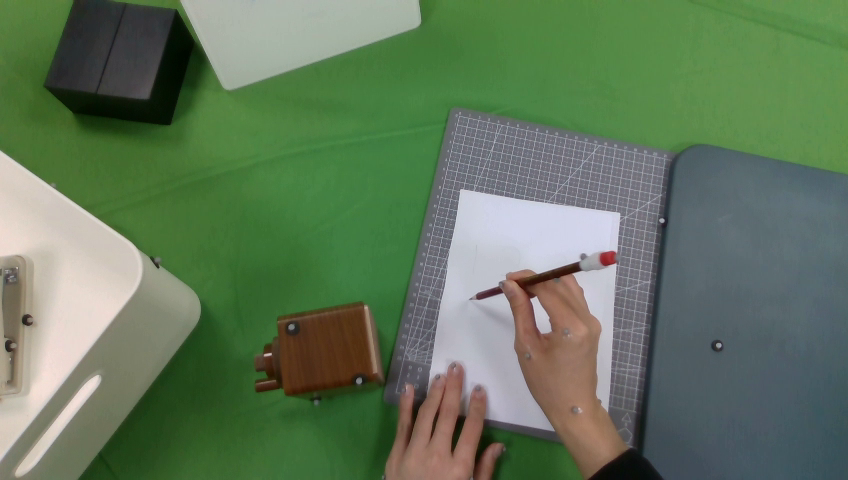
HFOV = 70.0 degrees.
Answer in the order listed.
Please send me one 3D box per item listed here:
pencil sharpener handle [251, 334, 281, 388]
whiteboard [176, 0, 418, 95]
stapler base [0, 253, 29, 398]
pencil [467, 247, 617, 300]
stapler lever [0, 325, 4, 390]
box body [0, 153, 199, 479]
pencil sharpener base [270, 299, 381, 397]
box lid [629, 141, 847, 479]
[{"bbox_3d":[-0.128,0.102,0.481,0.031,0.068,0.035,-10,58,-4],"label":"pencil sharpener handle"},{"bbox_3d":[-0.145,-0.323,0.541,0.217,0.308,0.142,-21,56,-7],"label":"whiteboard"},{"bbox_3d":[-0.375,0.073,0.531,0.041,0.024,0.130,-8,77,-2],"label":"stapler base"},{"bbox_3d":[0.081,0.031,0.476,0.012,0.194,0.012,7,73,-24],"label":"pencil"},{"bbox_3d":[-0.373,0.068,0.506,0.027,0.040,0.117,-8,77,-2],"label":"stapler lever"},{"bbox_3d":[-0.400,0.040,0.474,0.363,0.161,0.253,32,76,7],"label":"box body"},{"bbox_3d":[-0.079,0.093,0.498,0.077,0.107,0.061,-10,75,-4],"label":"pencil sharpener base"},{"bbox_3d":[0.337,0.093,0.561,0.263,0.015,0.369,12,75,1],"label":"box lid"}]
